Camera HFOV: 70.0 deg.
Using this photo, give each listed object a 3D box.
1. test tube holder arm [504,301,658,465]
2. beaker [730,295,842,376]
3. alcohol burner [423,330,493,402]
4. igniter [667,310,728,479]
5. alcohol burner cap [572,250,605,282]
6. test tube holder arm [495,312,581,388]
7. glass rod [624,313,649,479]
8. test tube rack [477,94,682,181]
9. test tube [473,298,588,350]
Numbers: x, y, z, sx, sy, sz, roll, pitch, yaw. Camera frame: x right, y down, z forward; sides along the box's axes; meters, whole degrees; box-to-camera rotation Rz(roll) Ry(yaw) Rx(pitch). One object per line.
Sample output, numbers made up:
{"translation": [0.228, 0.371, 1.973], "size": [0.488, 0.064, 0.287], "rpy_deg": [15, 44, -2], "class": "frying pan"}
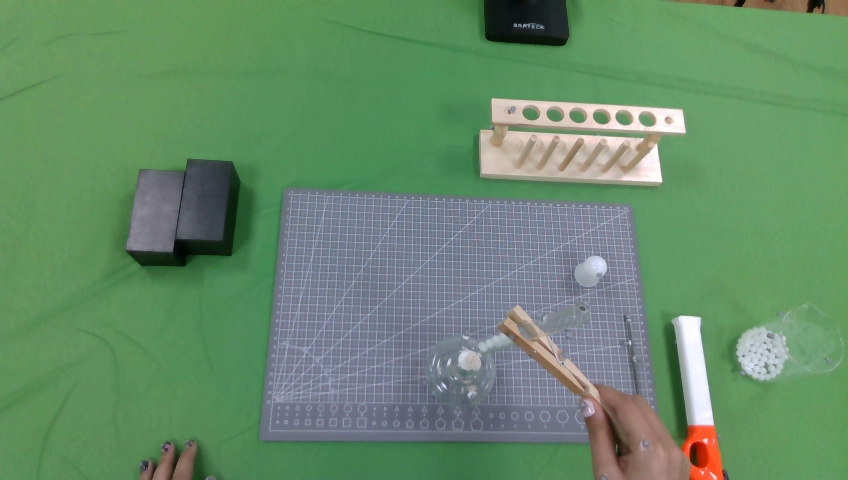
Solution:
{"translation": [0.132, 0.120, 0.507], "size": [0.178, 0.015, 0.013], "rpy_deg": [46, 61, 0], "class": "test tube holder arm"}
{"translation": [0.415, 0.115, 0.706], "size": [0.074, 0.101, 0.083], "rpy_deg": [15, 68, -1], "class": "beaker"}
{"translation": [0.039, 0.131, 0.646], "size": [0.078, 0.120, 0.077], "rpy_deg": [2, 68, -5], "class": "alcohol burner"}
{"translation": [0.314, 0.216, 0.696], "size": [0.057, 0.025, 0.274], "rpy_deg": [6, 70, -15], "class": "igniter"}
{"translation": [0.203, 0.029, 0.739], "size": [0.034, 0.048, 0.033], "rpy_deg": [2, 70, -6], "class": "alcohol burner cap"}
{"translation": [0.096, 0.092, 0.503], "size": [0.088, 0.015, 0.010], "rpy_deg": [40, 61, -4], "class": "test tube holder arm"}
{"translation": [0.247, 0.182, 0.708], "size": [0.008, 0.008, 0.198], "rpy_deg": [2, 70, -6], "class": "glass rod"}
{"translation": [0.195, -0.129, 0.774], "size": [0.243, 0.085, 0.066], "rpy_deg": [2, 70, -6], "class": "test tube rack"}
{"translation": [0.082, 0.073, 0.504], "size": [0.017, 0.150, 0.017], "rpy_deg": [9, 68, -24], "class": "test tube"}
